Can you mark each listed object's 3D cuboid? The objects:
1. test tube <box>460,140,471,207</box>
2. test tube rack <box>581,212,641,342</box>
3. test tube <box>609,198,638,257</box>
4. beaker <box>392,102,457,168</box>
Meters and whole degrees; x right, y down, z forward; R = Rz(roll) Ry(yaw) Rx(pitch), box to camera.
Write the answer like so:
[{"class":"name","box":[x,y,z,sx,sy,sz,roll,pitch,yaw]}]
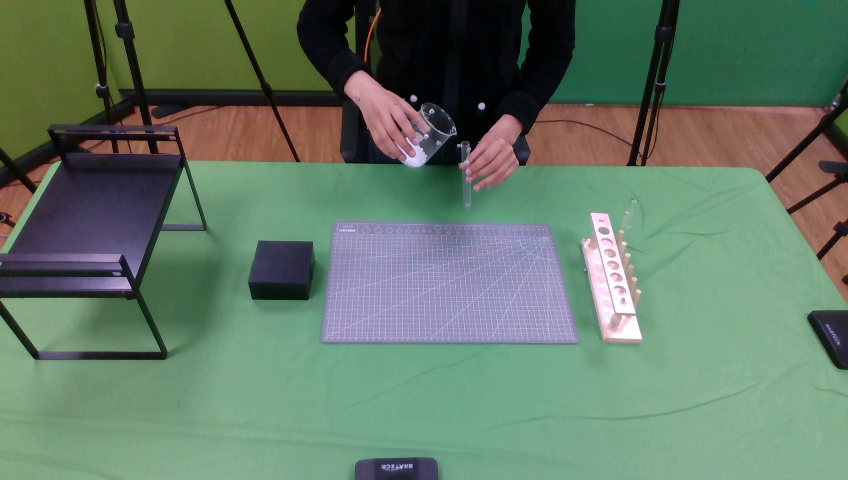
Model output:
[{"class":"test tube","box":[0.079,-0.121,1.134,0.017,0.151,0.017,-3,44,3]},{"class":"test tube rack","box":[0.351,0.063,1.121,0.067,0.085,0.241,3,46,-1]},{"class":"test tube","box":[0.375,-0.021,1.141,0.017,0.151,0.017,2,45,-2]},{"class":"beaker","box":[-0.002,-0.181,1.072,0.084,0.100,0.073,27,41,-26]}]
